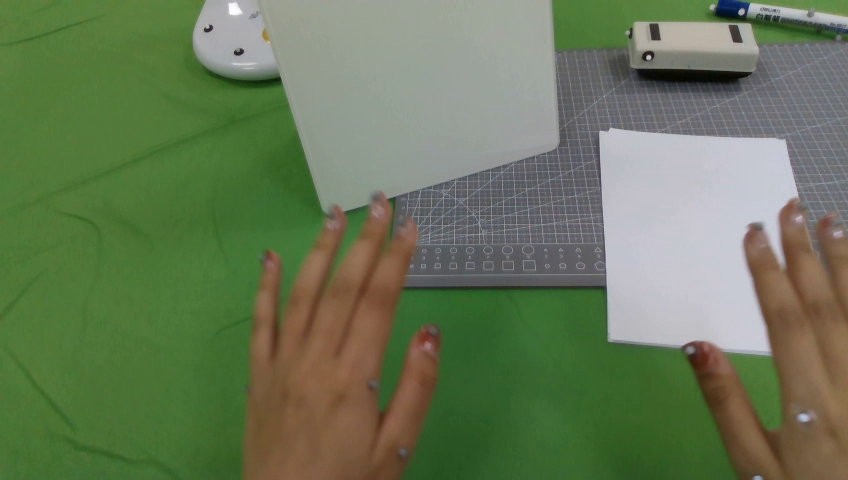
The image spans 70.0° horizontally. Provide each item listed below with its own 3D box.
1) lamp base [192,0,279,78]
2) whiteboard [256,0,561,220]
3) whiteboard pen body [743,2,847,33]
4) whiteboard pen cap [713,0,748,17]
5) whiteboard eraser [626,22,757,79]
[{"bbox_3d":[-0.189,-0.285,0.614,0.177,0.182,0.160,34,61,30],"label":"lamp base"},{"bbox_3d":[-0.025,-0.207,0.495,0.217,0.308,0.142,-17,32,-8],"label":"whiteboard"},{"bbox_3d":[0.381,-0.232,0.626,0.140,0.017,0.017,19,55,21],"label":"whiteboard pen body"},{"bbox_3d":[0.328,-0.248,0.647,0.033,0.018,0.018,19,55,22],"label":"whiteboard pen cap"},{"bbox_3d":[0.253,-0.182,0.581,0.112,0.042,0.055,4,53,8],"label":"whiteboard eraser"}]
